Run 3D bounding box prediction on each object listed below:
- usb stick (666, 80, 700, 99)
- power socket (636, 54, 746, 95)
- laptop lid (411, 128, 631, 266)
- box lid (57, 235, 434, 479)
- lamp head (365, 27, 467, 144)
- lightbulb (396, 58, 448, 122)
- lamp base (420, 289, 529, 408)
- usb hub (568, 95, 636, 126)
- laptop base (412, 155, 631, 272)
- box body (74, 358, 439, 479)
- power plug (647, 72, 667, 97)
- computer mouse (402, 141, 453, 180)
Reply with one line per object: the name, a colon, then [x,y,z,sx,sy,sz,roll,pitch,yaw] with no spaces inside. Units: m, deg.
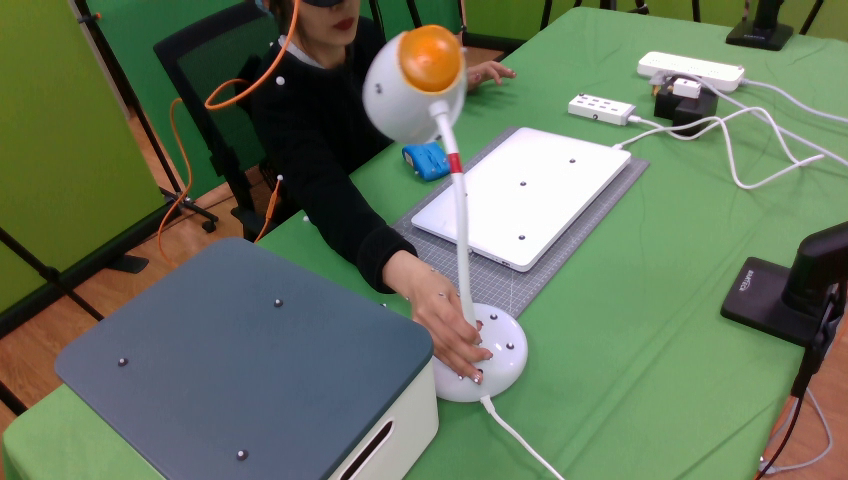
usb stick: [0.492,-0.288,1.152,0.058,0.027,0.021,20,51,34]
power socket: [0.564,-0.357,1.293,0.225,0.033,0.072,24,51,33]
laptop lid: [0.172,-0.093,1.049,0.239,0.013,0.358,24,50,36]
box lid: [-0.198,0.123,0.653,0.368,0.015,0.264,22,49,32]
lamp head: [-0.001,-0.166,0.638,0.113,0.112,0.122,-20,2,-12]
lightbulb: [-0.001,-0.168,0.662,0.059,0.107,0.059,1,81,-4]
lamp base: [0.051,0.092,0.742,0.161,0.181,0.177,-19,42,-9]
usb hub: [0.360,-0.264,1.228,0.124,0.025,0.049,24,49,34]
laptop base: [0.176,-0.083,1.055,0.233,0.023,0.355,21,48,36]
box body: [-0.189,0.179,0.702,0.361,0.161,0.255,22,49,32]
power plug: [0.494,-0.321,1.261,0.073,0.052,0.035,0,21,-41]
computer mouse: [0.005,-0.159,1.165,0.063,0.041,0.116,-21,45,-17]
